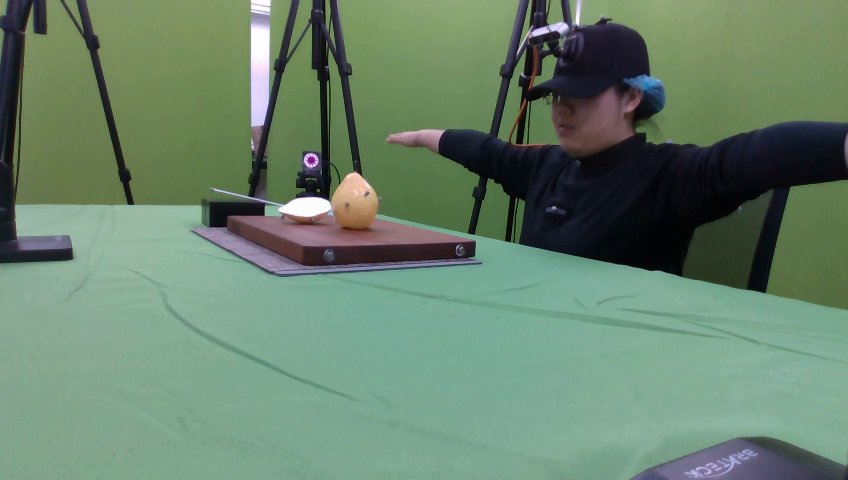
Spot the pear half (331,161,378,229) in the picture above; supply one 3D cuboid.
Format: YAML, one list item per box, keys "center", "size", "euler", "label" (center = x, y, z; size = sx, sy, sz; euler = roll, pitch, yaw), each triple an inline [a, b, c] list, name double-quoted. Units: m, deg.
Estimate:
- center: [-0.106, -0.072, 0.971]
  size: [0.077, 0.110, 0.055]
  euler: [-9, 13, -40]
  label: "pear half"

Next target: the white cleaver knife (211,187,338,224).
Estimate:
- center: [-0.286, -0.073, 1.222]
  size: [0.288, 0.021, 0.065]
  euler: [15, 3, -28]
  label: "white cleaver knife"

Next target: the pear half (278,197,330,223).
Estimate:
- center: [-0.204, -0.047, 1.033]
  size: [0.088, 0.031, 0.070]
  euler: [-13, 27, -17]
  label: "pear half"
